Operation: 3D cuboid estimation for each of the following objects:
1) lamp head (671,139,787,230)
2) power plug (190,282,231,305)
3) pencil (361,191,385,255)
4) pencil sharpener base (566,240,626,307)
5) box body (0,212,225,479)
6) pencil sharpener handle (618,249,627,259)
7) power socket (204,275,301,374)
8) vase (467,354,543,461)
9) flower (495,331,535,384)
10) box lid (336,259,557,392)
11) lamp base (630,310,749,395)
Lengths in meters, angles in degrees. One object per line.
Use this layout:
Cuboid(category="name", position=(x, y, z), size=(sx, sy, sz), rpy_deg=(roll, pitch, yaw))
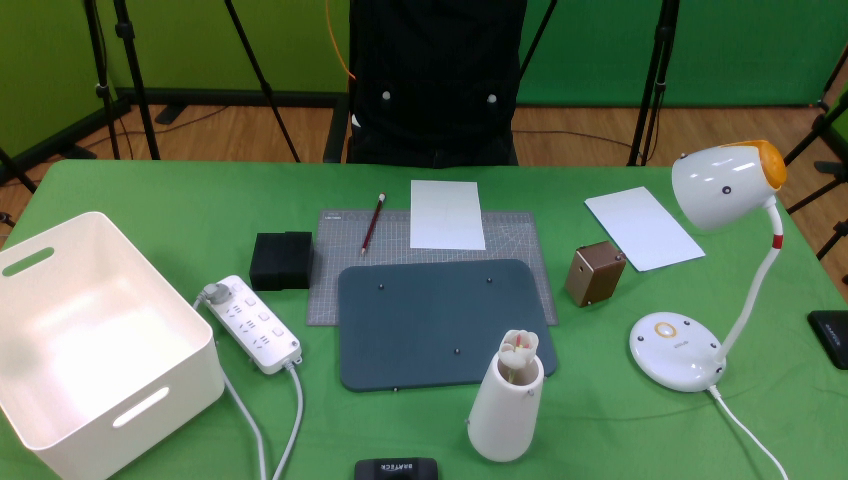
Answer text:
Cuboid(category="lamp head", position=(0.415, -0.078, 0.811), size=(0.113, 0.123, 0.112), rpy_deg=(12, 70, -37))
Cuboid(category="power plug", position=(-0.368, 0.098, 1.038), size=(0.072, 0.053, 0.035), rpy_deg=(-26, 56, -20))
Cuboid(category="pencil", position=(-0.104, -0.037, 1.228), size=(0.012, 0.012, 0.193), rpy_deg=(9, 45, 5))
Cuboid(category="pencil sharpener base", position=(0.313, 0.060, 1.103), size=(0.077, 0.107, 0.061), rpy_deg=(-15, 49, -18))
Cuboid(category="box body", position=(-0.504, 0.154, 0.916), size=(0.362, 0.161, 0.254), rpy_deg=(36, 54, 27))
Cuboid(category="pencil sharpener handle", position=(0.359, 0.037, 1.112), size=(0.031, 0.068, 0.036), rpy_deg=(-15, 61, -18))
Cuboid(category="power socket", position=(-0.296, 0.140, 1.035), size=(0.072, 0.033, 0.225), rpy_deg=(-32, 57, -29))
Cuboid(category="vase", position=(0.116, 0.235, 0.860), size=(0.098, 0.201, 0.097), rpy_deg=(1, 47, -1))
Cuboid(category="flower", position=(0.110, 0.187, 0.791), size=(0.044, 0.363, 0.038), rpy_deg=(-31, 65, -10))
Cuboid(category="box lid", position=(0.030, 0.140, 1.073), size=(0.372, 0.015, 0.261), rpy_deg=(-3, 47, -7))
Cuboid(category="lamp base", position=(0.447, 0.143, 0.984), size=(0.161, 0.181, 0.178), rpy_deg=(-24, 55, -24))
